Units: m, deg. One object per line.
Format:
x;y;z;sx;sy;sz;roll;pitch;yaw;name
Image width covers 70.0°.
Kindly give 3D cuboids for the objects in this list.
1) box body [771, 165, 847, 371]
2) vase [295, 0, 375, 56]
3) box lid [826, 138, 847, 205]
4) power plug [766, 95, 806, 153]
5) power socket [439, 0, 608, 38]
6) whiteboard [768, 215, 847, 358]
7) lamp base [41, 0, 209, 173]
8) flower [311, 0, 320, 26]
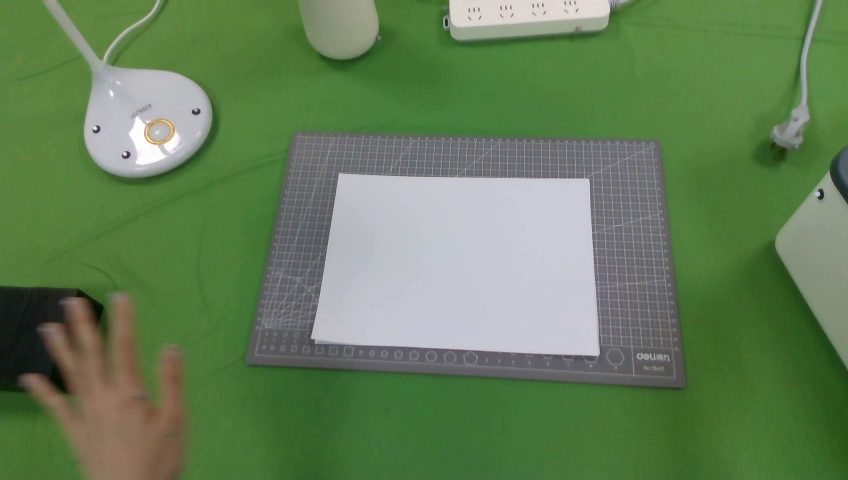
0.526;0.071;0.535;0.254;0.161;0.360;-17;65;-5;box body
-0.120;-0.321;0.737;0.098;0.201;0.097;-2;64;4;vase
0.521;0.036;0.468;0.263;0.015;0.368;-17;65;-4;box lid
0.426;-0.132;0.707;0.072;0.053;0.035;-29;61;-33;power plug
0.132;-0.312;0.811;0.227;0.033;0.071;-3;65;2;power socket
0.526;0.065;0.552;0.217;0.145;0.302;-17;64;-8;whiteboard
-0.367;-0.193;0.701;0.178;0.182;0.160;33;70;20;lamp base
-0.105;-0.348;0.659;0.044;0.362;0.038;-38;85;-23;flower
